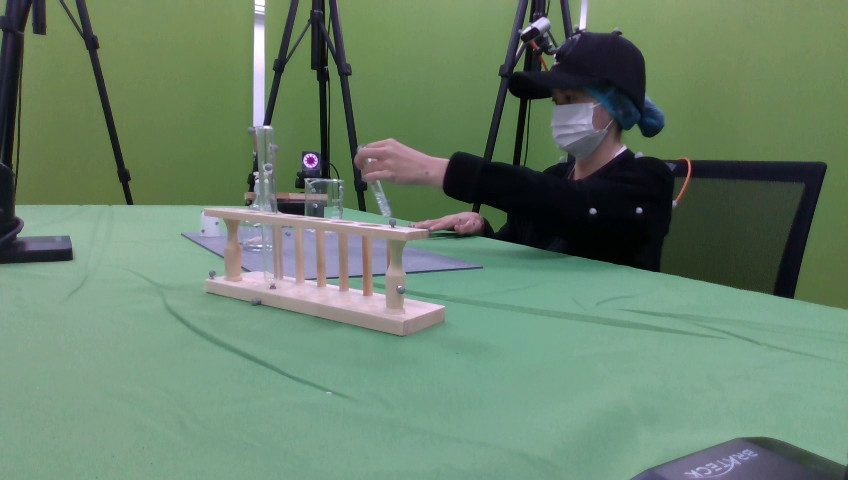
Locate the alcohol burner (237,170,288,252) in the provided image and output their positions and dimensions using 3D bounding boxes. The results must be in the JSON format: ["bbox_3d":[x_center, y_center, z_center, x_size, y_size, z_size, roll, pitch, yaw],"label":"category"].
[{"bbox_3d":[-0.236,-0.042,0.882,0.078,0.119,0.078,2,9,0],"label":"alcohol burner"}]

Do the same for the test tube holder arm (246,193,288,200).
[{"bbox_3d":[-0.317,-0.088,1.226,0.088,0.015,0.010,-3,0,-37],"label":"test tube holder arm"}]

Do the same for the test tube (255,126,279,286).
[{"bbox_3d":[-0.147,-0.031,0.567,0.017,0.150,0.017,-1,8,0],"label":"test tube"}]

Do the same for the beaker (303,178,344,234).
[{"bbox_3d":[-0.189,-0.063,1.119,0.073,0.100,0.084,6,9,28],"label":"beaker"}]

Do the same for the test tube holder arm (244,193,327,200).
[{"bbox_3d":[-0.285,-0.090,1.258,0.179,0.015,0.013,-3,0,-37],"label":"test tube holder arm"}]

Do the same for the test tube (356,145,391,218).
[{"bbox_3d":[-0.086,-0.099,1.015,0.017,0.150,0.017,-19,-25,-9],"label":"test tube"}]

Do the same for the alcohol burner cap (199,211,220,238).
[{"bbox_3d":[-0.356,-0.027,1.002,0.034,0.048,0.034,2,7,0],"label":"alcohol burner cap"}]

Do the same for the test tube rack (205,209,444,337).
[{"bbox_3d":[-0.100,0.021,0.565,0.241,0.085,0.067,7,8,32],"label":"test tube rack"}]
